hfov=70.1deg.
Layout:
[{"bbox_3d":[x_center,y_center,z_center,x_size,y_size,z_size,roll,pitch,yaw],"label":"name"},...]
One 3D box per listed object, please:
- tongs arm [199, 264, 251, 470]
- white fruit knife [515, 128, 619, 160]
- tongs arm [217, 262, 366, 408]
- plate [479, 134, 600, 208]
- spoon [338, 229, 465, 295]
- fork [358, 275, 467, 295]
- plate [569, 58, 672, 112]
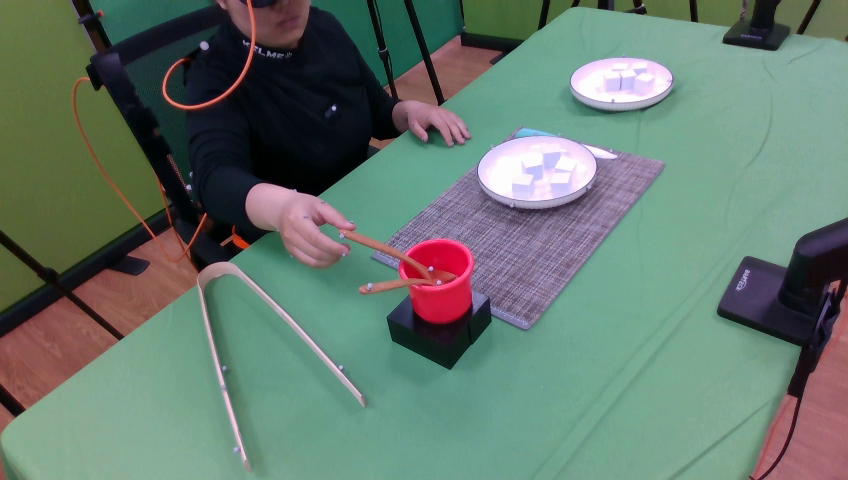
[{"bbox_3d":[-0.270,0.154,0.841,0.051,0.026,0.381,-22,40,-17],"label":"tongs arm"},{"bbox_3d":[0.269,-0.182,1.148,0.206,0.016,0.027,21,77,29],"label":"white fruit knife"},{"bbox_3d":[-0.200,0.123,0.872,0.028,0.028,0.384,-35,46,-25],"label":"tongs arm"},{"bbox_3d":[0.202,-0.117,1.065,0.207,0.039,0.206,-5,40,5],"label":"plate"},{"bbox_3d":[-0.025,0.026,0.776,0.021,0.195,0.041,-41,34,31],"label":"spoon"},{"bbox_3d":[-0.009,0.056,0.739,0.028,0.018,0.209,48,23,26],"label":"fork"},{"bbox_3d":[0.411,-0.323,1.274,0.209,0.038,0.208,-5,41,5],"label":"plate"}]
